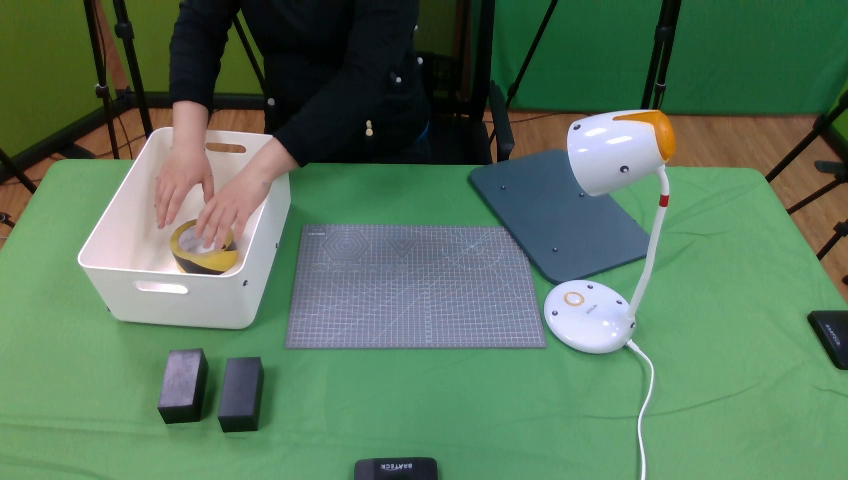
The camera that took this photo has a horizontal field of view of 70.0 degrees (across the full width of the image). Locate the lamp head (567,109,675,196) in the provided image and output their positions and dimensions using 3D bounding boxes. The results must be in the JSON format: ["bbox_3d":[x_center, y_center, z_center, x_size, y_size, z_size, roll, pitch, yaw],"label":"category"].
[{"bbox_3d":[0.272,-0.123,0.818,0.122,0.113,0.112,-9,35,37],"label":"lamp head"}]

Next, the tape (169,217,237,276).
[{"bbox_3d":[-0.408,0.014,1.123,0.117,0.053,0.116,2,46,-2],"label":"tape"}]

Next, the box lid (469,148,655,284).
[{"bbox_3d":[0.285,-0.064,1.289,0.263,0.015,0.369,-17,49,-19],"label":"box lid"}]

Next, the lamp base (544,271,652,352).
[{"bbox_3d":[0.310,0.086,1.029,0.178,0.181,0.160,32,52,21],"label":"lamp base"}]

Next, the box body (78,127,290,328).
[{"bbox_3d":[-0.400,-0.026,1.095,0.254,0.161,0.362,4,46,0],"label":"box body"}]
